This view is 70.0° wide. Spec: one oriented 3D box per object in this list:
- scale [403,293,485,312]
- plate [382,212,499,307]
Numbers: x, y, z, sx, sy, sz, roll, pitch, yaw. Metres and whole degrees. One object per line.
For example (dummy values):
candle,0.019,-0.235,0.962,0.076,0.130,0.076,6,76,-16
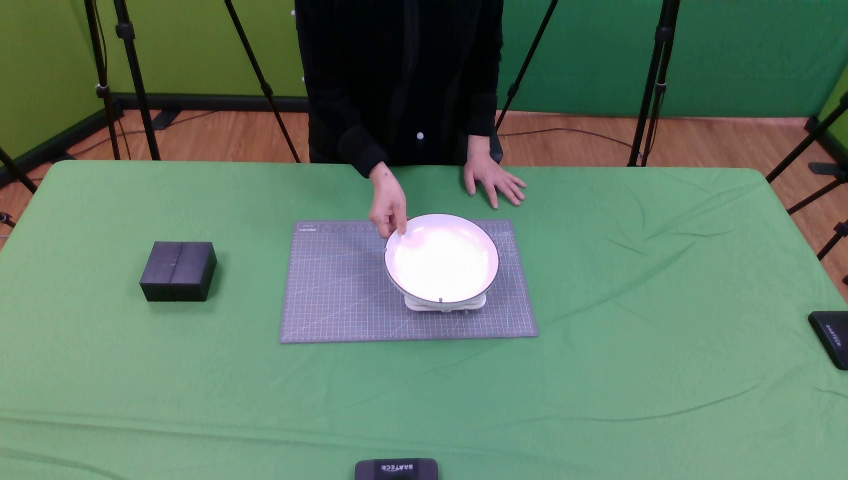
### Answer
scale,0.031,0.050,1.141,0.149,0.032,0.199,-1,46,-5
plate,0.029,0.038,1.090,0.209,0.038,0.208,2,51,-3
